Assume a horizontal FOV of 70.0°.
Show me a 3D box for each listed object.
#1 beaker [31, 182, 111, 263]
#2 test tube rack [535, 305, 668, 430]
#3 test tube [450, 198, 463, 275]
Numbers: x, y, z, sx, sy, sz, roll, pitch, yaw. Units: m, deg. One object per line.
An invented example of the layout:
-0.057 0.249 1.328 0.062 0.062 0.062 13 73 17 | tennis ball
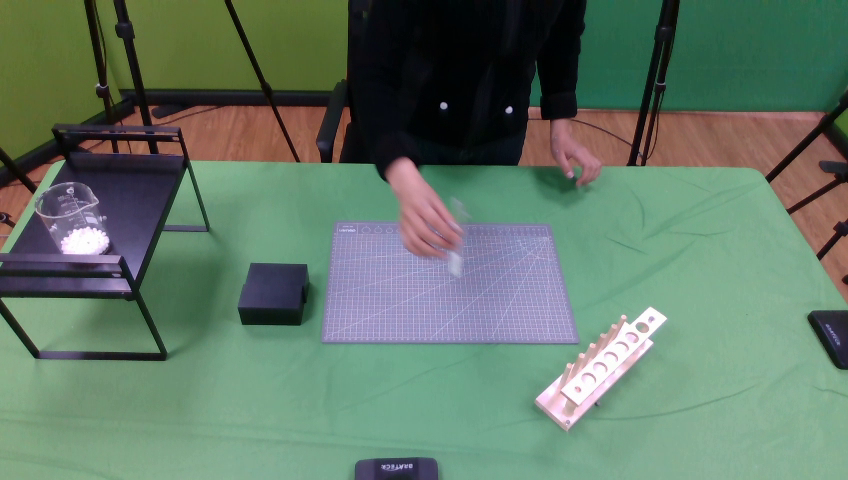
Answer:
-0.502 -0.023 0.877 0.084 0.101 0.073 -2 47 -7 | beaker
0.290 0.193 0.984 0.242 0.085 0.066 -32 56 -30 | test tube rack
0.048 -0.001 0.911 0.017 0.151 0.017 0 43 0 | test tube
